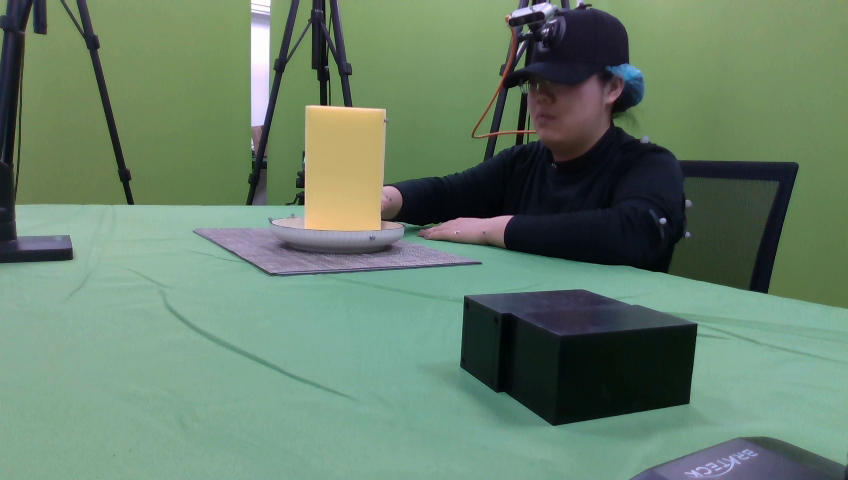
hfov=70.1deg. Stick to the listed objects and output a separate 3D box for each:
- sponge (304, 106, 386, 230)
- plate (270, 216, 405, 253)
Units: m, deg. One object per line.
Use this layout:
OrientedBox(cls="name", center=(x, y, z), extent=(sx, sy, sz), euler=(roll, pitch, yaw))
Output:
OrientedBox(cls="sponge", center=(-0.125, -0.105, 0.956), extent=(0.118, 0.206, 0.061), euler=(4, 14, -1))
OrientedBox(cls="plate", center=(-0.134, -0.009, 0.946), extent=(0.208, 0.039, 0.207), euler=(3, 7, 0))
